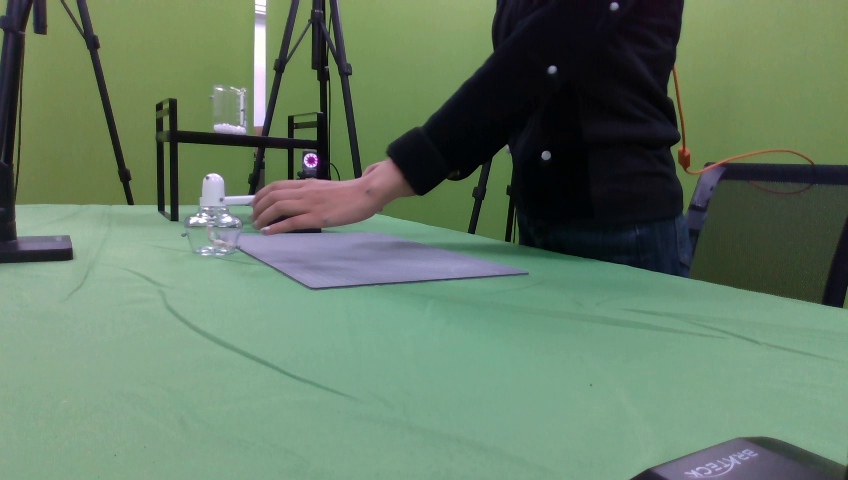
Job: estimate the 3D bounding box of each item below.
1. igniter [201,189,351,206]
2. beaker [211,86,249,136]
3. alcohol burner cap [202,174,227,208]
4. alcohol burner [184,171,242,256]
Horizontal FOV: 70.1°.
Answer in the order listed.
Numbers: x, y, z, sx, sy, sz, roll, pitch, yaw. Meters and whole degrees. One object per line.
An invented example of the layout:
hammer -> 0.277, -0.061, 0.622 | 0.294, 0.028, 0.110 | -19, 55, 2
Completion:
igniter -> -0.272, -0.078, 1.139 | 0.278, 0.025, 0.057 | -5, 10, -27
beaker -> -0.413, -0.274, 1.297 | 0.074, 0.100, 0.083 | -5, 11, -44
alcohol burner cap -> -0.294, -0.068, 0.846 | 0.034, 0.048, 0.034 | 1, 6, 0
alcohol burner -> -0.296, -0.038, 0.851 | 0.078, 0.119, 0.078 | 2, 5, 0
